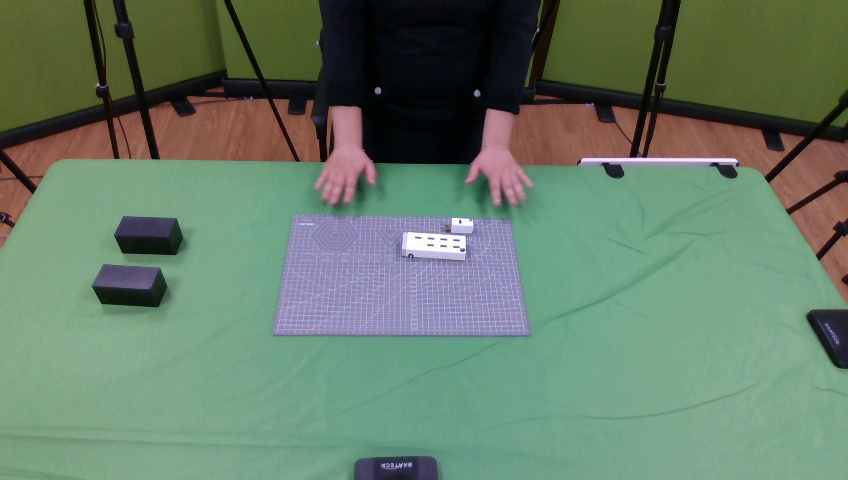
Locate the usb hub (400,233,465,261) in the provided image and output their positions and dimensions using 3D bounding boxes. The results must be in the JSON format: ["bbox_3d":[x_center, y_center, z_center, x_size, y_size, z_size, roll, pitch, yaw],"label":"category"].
[{"bbox_3d":[0.018,0.013,1.180,0.125,0.025,0.049,4,46,0],"label":"usb hub"}]

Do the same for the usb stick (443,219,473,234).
[{"bbox_3d":[0.068,-0.028,1.222,0.059,0.027,0.021,1,45,0],"label":"usb stick"}]
